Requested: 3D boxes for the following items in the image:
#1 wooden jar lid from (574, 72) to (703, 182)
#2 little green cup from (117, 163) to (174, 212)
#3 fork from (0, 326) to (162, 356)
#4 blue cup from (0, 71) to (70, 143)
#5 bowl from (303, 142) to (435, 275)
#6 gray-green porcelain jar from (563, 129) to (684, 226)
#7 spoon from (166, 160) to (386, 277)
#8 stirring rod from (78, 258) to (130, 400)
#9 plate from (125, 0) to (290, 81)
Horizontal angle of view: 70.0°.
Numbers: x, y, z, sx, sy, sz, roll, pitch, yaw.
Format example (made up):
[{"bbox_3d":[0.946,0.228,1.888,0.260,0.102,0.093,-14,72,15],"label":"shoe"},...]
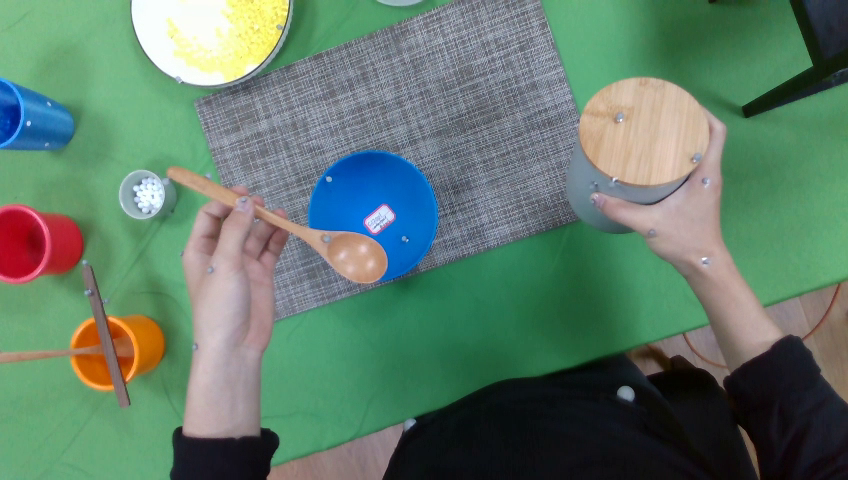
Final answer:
[{"bbox_3d":[0.186,-0.098,0.533,0.108,0.021,0.107,-2,70,6],"label":"wooden jar lid"},{"bbox_3d":[-0.351,-0.066,0.771,0.061,0.038,0.061,0,92,7],"label":"little green cup"},{"bbox_3d":[-0.429,0.125,0.730,0.208,0.018,0.028,0,95,-37],"label":"fork"},{"bbox_3d":[-0.501,-0.159,0.752,0.092,0.100,0.092,0,93,8],"label":"blue cup"},{"bbox_3d":[-0.058,-0.036,0.717,0.151,0.077,0.151,0,92,6],"label":"bowl"},{"bbox_3d":[0.193,-0.077,0.591,0.106,0.127,0.105,-2,71,5],"label":"gray-green porcelain jar"},{"bbox_3d":[-0.121,-0.021,0.505,0.194,0.021,0.041,26,96,-13],"label":"spoon"},{"bbox_3d":[-0.381,0.105,0.722,0.014,0.006,0.176,-17,90,5],"label":"stirring rod"},{"bbox_3d":[-0.265,-0.300,0.754,0.209,0.038,0.209,0,92,6],"label":"plate"}]
